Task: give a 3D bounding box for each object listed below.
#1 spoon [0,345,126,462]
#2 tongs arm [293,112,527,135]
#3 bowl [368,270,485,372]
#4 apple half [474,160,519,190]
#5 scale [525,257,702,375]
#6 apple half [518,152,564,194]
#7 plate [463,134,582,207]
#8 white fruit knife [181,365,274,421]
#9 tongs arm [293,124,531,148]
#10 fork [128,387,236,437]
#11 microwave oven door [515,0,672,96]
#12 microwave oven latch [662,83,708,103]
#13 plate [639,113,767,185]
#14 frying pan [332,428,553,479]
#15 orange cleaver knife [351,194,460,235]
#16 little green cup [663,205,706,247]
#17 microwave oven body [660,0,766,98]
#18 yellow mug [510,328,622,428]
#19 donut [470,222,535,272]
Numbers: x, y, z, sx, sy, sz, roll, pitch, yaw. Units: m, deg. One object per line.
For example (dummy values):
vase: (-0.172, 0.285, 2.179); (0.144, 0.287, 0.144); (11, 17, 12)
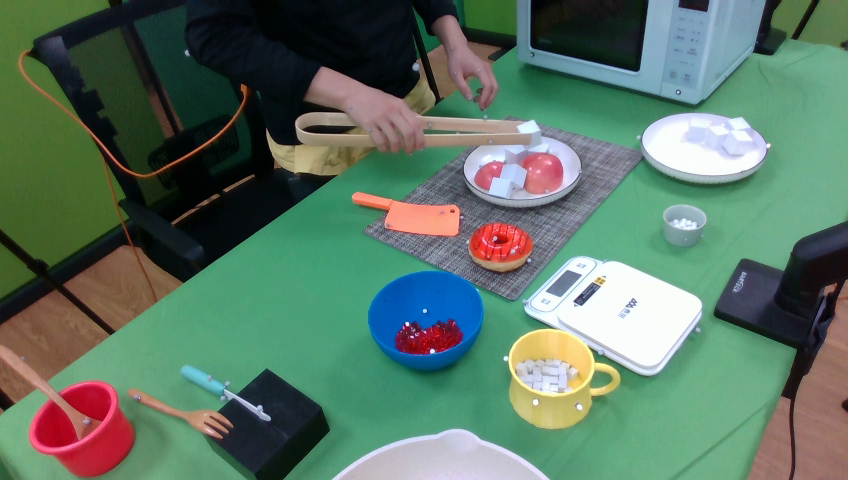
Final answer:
spoon: (-0.434, 0.192, 0.720); (0.194, 0.021, 0.042); (47, 53, -7)
tongs arm: (-0.019, -0.184, 1.002); (0.385, 0.026, 0.050); (4, 51, -1)
bowl: (0.007, 0.118, 0.791); (0.151, 0.077, 0.150); (-4, 40, 4)
apple half: (0.131, -0.120, 1.068); (0.081, 0.033, 0.081); (-4, 36, 3)
scale: (0.254, 0.091, 0.821); (0.199, 0.032, 0.149); (28, 51, 35)
apple half: (0.204, -0.124, 1.048); (0.075, 0.053, 0.080); (-7, 41, -3)
plate: (0.173, -0.119, 1.070); (0.209, 0.038, 0.208); (-4, 40, 4)
white fruit knife: (-0.246, 0.187, 0.747); (0.205, 0.027, 0.016); (9, 41, 40)
tongs arm: (-0.019, -0.166, 0.987); (0.388, 0.028, 0.028); (1, 55, -4)
fork: (-0.305, 0.207, 0.744); (0.206, 0.019, 0.028); (3, 41, 36)
microwave oven door: (0.343, -0.454, 1.259); (0.353, 0.245, 0.039); (26, 51, 33)
microwave oven latch: (0.518, -0.296, 1.204); (0.078, 0.029, 0.030); (28, 52, 35)
plate: (0.489, -0.157, 1.074); (0.207, 0.039, 0.206); (-4, 40, 4)
frying pan: (-0.089, 0.306, 0.564); (0.487, 0.103, 0.306); (10, 41, 7)
orange cleaver knife: (-0.036, -0.044, 1.029); (0.210, 0.012, 0.077); (10, 47, 18)
little green cup: (0.396, -0.021, 0.926); (0.061, 0.039, 0.061); (-4, 40, 4)
microwave oven body: (0.472, -0.513, 1.317); (0.438, 0.261, 0.327); (26, 51, 34)
yellow mug: (0.169, 0.164, 0.722); (0.130, 0.064, 0.099); (0, 40, 8)
donut: (0.119, 0.009, 0.923); (0.099, 0.048, 0.098); (-4, 38, 3)
